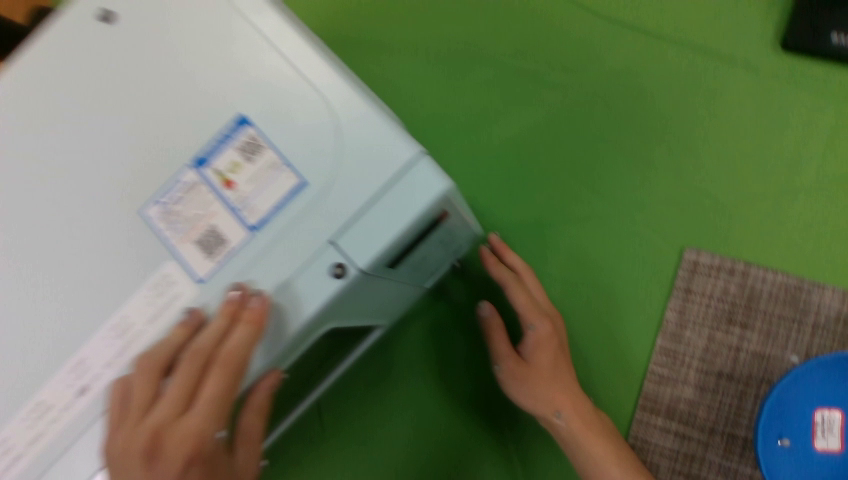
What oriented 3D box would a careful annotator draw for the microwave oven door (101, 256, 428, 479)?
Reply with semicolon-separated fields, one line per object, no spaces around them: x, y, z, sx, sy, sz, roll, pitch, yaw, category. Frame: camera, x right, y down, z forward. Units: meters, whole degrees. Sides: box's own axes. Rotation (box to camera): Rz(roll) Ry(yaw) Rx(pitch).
-0.153;0.151;0.488;0.356;0.245;0.039;-46;77;3;microwave oven door

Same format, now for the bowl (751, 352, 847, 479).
0.339;0.165;0.496;0.151;0.077;0.151;-1;83;10;bowl

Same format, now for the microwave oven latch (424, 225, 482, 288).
0.021;0.009;0.577;0.079;0.029;0.030;-45;79;3;microwave oven latch

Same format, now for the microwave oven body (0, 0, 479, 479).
-0.224;0.020;0.521;0.442;0.261;0.324;-46;79;3;microwave oven body
